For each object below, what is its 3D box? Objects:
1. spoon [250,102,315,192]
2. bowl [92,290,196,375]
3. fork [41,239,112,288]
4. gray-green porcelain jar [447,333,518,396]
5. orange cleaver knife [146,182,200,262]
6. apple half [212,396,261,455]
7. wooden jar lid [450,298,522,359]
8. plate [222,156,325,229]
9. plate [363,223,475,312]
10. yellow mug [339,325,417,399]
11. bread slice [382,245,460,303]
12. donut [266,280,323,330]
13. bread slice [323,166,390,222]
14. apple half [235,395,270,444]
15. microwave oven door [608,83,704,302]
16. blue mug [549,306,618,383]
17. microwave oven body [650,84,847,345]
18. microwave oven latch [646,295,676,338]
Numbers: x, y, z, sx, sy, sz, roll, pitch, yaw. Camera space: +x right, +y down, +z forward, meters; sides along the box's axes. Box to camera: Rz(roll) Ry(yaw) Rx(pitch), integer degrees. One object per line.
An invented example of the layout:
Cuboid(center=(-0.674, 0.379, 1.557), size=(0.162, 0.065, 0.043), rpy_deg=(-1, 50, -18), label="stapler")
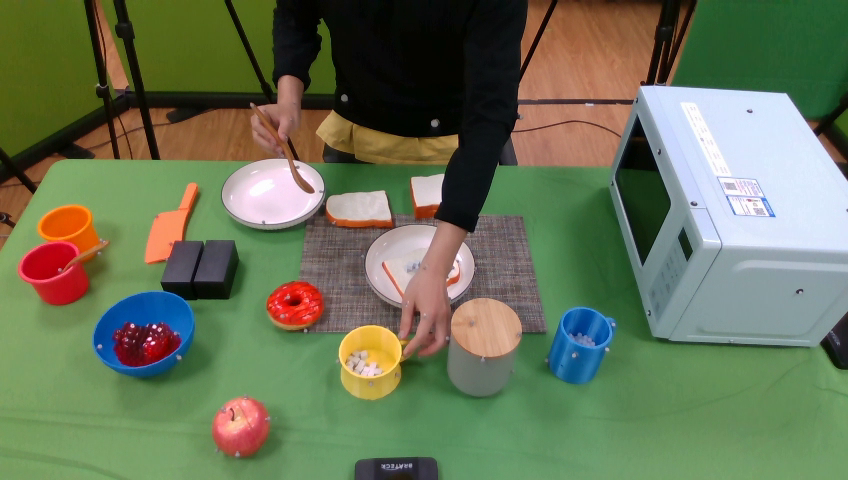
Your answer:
Cuboid(center=(-0.250, -0.163, 1.080), size=(0.021, 0.195, 0.041), rpy_deg=(-24, 29, 5), label="spoon")
Cuboid(center=(-0.436, 0.161, 0.971), size=(0.151, 0.077, 0.150), rpy_deg=(2, 46, -2), label="bowl")
Cuboid(center=(-0.591, 0.040, 1.028), size=(0.207, 0.019, 0.028), rpy_deg=(-27, 36, 29), label="fork")
Cuboid(center=(0.091, 0.178, 0.960), size=(0.106, 0.127, 0.105), rpy_deg=(2, 46, -2), label="gray-green porcelain jar")
Cuboid(center=(-0.494, -0.039, 1.199), size=(0.077, 0.012, 0.210), rpy_deg=(-3, 48, 2), label="orange cleaver knife")
Cuboid(center=(-0.276, 0.276, 0.877), size=(0.053, 0.075, 0.080), rpy_deg=(-29, 58, -21), label="apple half")
Cuboid(center=(0.093, 0.135, 0.914), size=(0.108, 0.021, 0.107), rpy_deg=(3, 48, -3), label="wooden jar lid")
Cuboid(center=(-0.308, -0.095, 1.251), size=(0.209, 0.038, 0.208), rpy_deg=(2, 47, -2), label="plate")
Cuboid(center=(-0.009, 0.054, 1.126), size=(0.208, 0.039, 0.206), rpy_deg=(2, 46, -2), label="plate")
Cuboid(center=(-0.072, 0.190, 0.978), size=(0.131, 0.064, 0.099), rpy_deg=(-17, 50, -20), label="yellow mug")
Cuboid(center=(0.000, 0.054, 1.129), size=(0.132, 0.019, 0.104), rpy_deg=(-20, 52, -20), label="bread slice")
Cuboid(center=(-0.223, 0.112, 1.051), size=(0.099, 0.048, 0.098), rpy_deg=(2, 46, -2), label="donut")
Cuboid(center=(-0.140, -0.092, 1.225), size=(0.134, 0.018, 0.106), rpy_deg=(-19, 51, 6), label="bread slice")
Cuboid(center=(-0.245, 0.259, 0.893), size=(0.033, 0.082, 0.081), rpy_deg=(-29, 55, -21), label="apple half")
Cuboid(center=(0.425, -0.096, 1.138), size=(0.039, 0.245, 0.353), rpy_deg=(2, 47, -1), label="microwave oven door")
Cuboid(center=(0.269, 0.167, 0.997), size=(0.116, 0.106, 0.082), rpy_deg=(-19, 51, -21), label="blue mug")
Cuboid(center=(0.569, -0.054, 1.116), size=(0.326, 0.261, 0.439), rpy_deg=(2, 46, -1), label="microwave oven body")
Cuboid(center=(0.413, 0.133, 1.061), size=(0.030, 0.029, 0.078), rpy_deg=(4, 46, 1), label="microwave oven latch")
